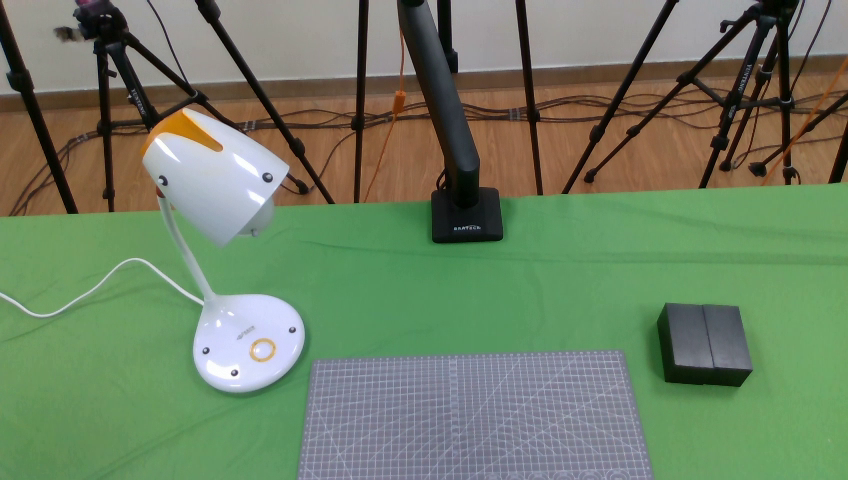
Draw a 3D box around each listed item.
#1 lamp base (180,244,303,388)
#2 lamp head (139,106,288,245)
[{"bbox_3d":[-0.274,0.092,0.842,0.178,0.182,0.160,25,57,25],"label":"lamp base"},{"bbox_3d":[-0.218,-0.071,0.607,0.123,0.112,0.112,38,54,-16],"label":"lamp head"}]
